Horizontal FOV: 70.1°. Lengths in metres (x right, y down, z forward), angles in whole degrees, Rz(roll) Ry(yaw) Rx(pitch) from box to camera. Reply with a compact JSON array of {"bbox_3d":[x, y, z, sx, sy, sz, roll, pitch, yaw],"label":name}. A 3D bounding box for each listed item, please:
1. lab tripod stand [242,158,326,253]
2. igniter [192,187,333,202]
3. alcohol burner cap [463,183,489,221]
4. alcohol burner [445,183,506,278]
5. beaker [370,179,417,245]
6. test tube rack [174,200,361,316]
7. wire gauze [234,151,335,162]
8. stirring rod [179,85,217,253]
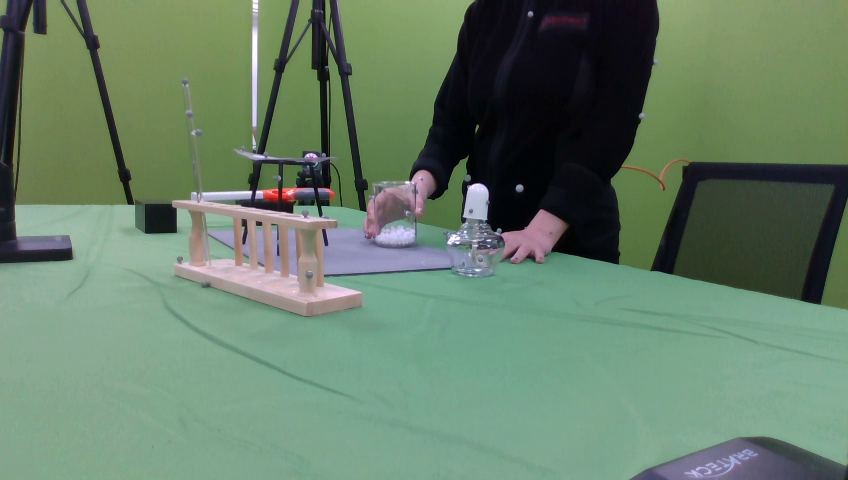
[{"bbox_3d":[-0.207,-0.054,0.895,0.148,0.131,0.148,3,5,0],"label":"lab tripod stand"},{"bbox_3d":[-0.316,-0.090,1.213,0.278,0.025,0.057,-5,13,-31],"label":"igniter"},{"bbox_3d":[0.067,-0.048,0.765,0.034,0.048,0.034,5,5,0],"label":"alcohol burner cap"},{"bbox_3d":[0.066,-0.013,0.770,0.078,0.119,0.078,0,7,0],"label":"alcohol burner"},{"bbox_3d":[-0.045,-0.045,0.970,0.074,0.100,0.083,-6,11,-25],"label":"beaker"},{"bbox_3d":[-0.169,0.010,0.622,0.241,0.085,0.067,9,9,41],"label":"test tube rack"},{"bbox_3d":[-0.204,-0.121,0.887,0.122,0.011,0.124,0,8,-32],"label":"wire gauze"},{"bbox_3d":[-0.236,-0.073,0.634,0.006,0.176,0.014,0,10,42],"label":"stirring rod"}]
